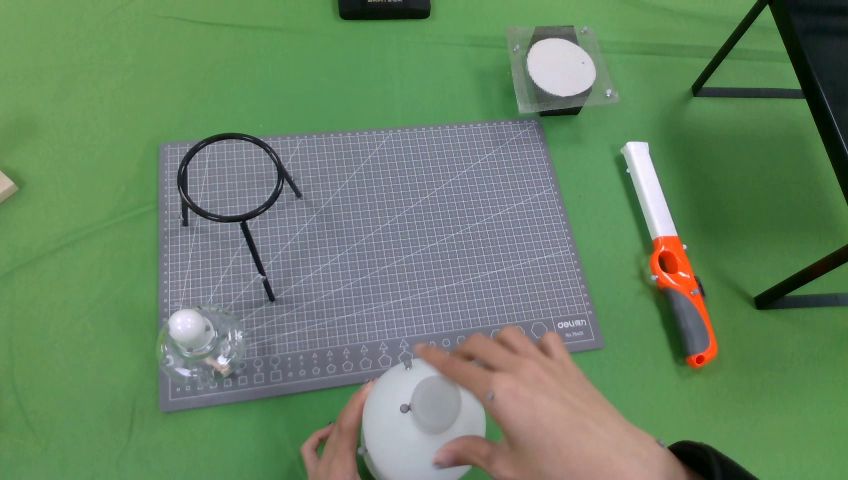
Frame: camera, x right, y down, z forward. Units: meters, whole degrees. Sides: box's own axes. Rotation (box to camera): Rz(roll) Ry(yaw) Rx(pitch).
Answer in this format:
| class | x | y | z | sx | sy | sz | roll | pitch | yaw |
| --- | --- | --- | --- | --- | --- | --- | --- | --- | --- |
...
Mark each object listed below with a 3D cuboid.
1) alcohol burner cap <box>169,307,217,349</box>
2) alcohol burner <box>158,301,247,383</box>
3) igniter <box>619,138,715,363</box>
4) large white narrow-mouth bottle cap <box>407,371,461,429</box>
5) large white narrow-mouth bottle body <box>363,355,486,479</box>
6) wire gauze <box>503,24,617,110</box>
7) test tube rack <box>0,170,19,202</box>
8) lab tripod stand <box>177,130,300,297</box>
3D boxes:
| class | x | y | z | sx | sy | sz | roll | pitch | yaw |
| --- | --- | --- | --- | --- | --- | --- | --- | --- | --- |
| alcohol burner cap | -0.197 | 0.073 | 0.512 | 0.034 | 0.048 | 0.033 | 2 | 72 | -6 |
| alcohol burner | -0.202 | 0.087 | 0.545 | 0.078 | 0.120 | 0.077 | 4 | 64 | -7 |
| igniter | 0.277 | 0.004 | 0.695 | 0.057 | 0.025 | 0.274 | -1 | 67 | -19 |
| large white narrow-mouth bottle cap | 0.007 | 0.110 | 0.417 | 0.038 | 0.024 | 0.037 | 3 | 66 | -5 |
| large white narrow-mouth bottle body | -0.001 | 0.150 | 0.502 | 0.102 | 0.196 | 0.101 | 2 | 65 | -5 |
| wire gauze | 0.162 | -0.213 | 0.733 | 0.122 | 0.011 | 0.124 | -4 | 68 | -9 |
| test tube rack | -0.525 | -0.012 | 0.563 | 0.066 | 0.085 | 0.242 | 39 | 67 | 10 |
| lab tripod stand | -0.174 | -0.030 | 0.589 | 0.149 | 0.132 | 0.147 | 4 | 66 | -8 |
